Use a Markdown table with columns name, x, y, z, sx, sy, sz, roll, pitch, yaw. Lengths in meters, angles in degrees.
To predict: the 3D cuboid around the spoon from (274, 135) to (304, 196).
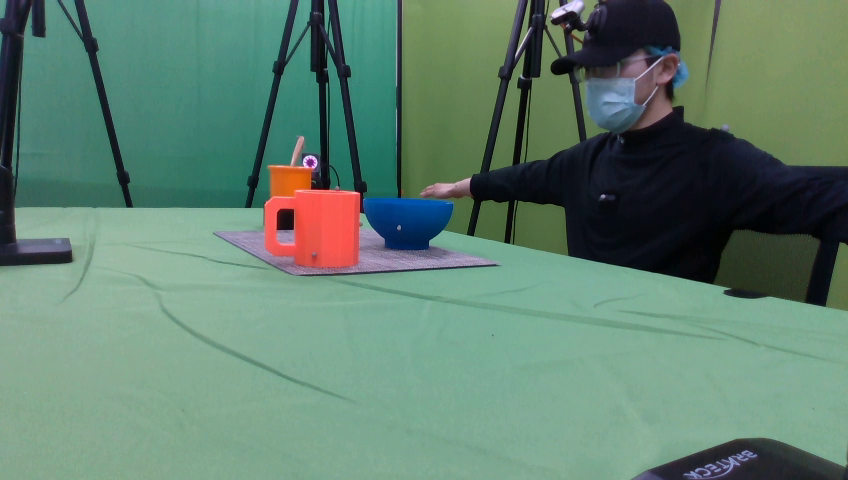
| name | x | y | z | sx | sy | sz | roll | pitch | yaw |
| --- | --- | --- | --- | --- | --- | --- | --- | --- | --- |
| spoon | -0.270 | -0.153 | 1.246 | 0.041 | 0.193 | 0.022 | -1 | -37 | 9 |

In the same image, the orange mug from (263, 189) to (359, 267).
| name | x | y | z | sx | sy | sz | roll | pitch | yaw |
| --- | --- | --- | --- | --- | --- | --- | --- | --- | --- |
| orange mug | -0.147 | -0.019 | 0.794 | 0.127 | 0.100 | 0.083 | 5 | 6 | -19 |

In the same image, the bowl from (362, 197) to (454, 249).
| name | x | y | z | sx | sy | sz | roll | pitch | yaw |
| --- | --- | --- | --- | --- | --- | --- | --- | --- | --- |
| bowl | -0.027 | -0.029 | 0.991 | 0.151 | 0.077 | 0.151 | 2 | 7 | 0 |
